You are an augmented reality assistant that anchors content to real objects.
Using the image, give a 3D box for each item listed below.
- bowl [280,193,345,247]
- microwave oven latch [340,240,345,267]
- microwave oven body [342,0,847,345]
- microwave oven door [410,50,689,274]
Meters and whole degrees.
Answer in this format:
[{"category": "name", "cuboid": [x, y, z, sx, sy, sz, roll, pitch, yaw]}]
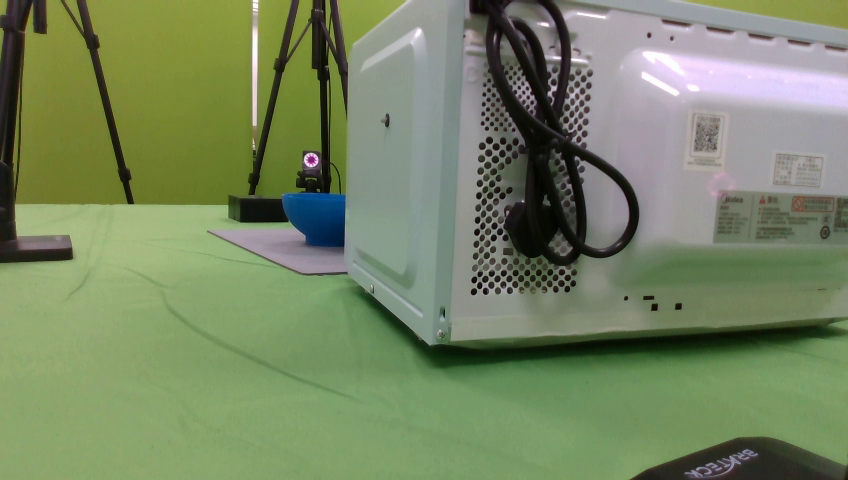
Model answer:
[{"category": "bowl", "cuboid": [-0.153, -0.032, 0.969, 0.151, 0.077, 0.151, 3, 7, 0]}, {"category": "microwave oven latch", "cuboid": [-0.052, 0.016, 0.662, 0.079, 0.029, 0.030, 1, 7, -18]}, {"category": "microwave oven body", "cuboid": [0.169, -0.060, 0.573, 0.444, 0.260, 0.324, 1, 7, -20]}, {"category": "microwave oven door", "cuboid": [0.161, -0.085, 0.724, 0.357, 0.243, 0.039, 0, 8, -20]}]
